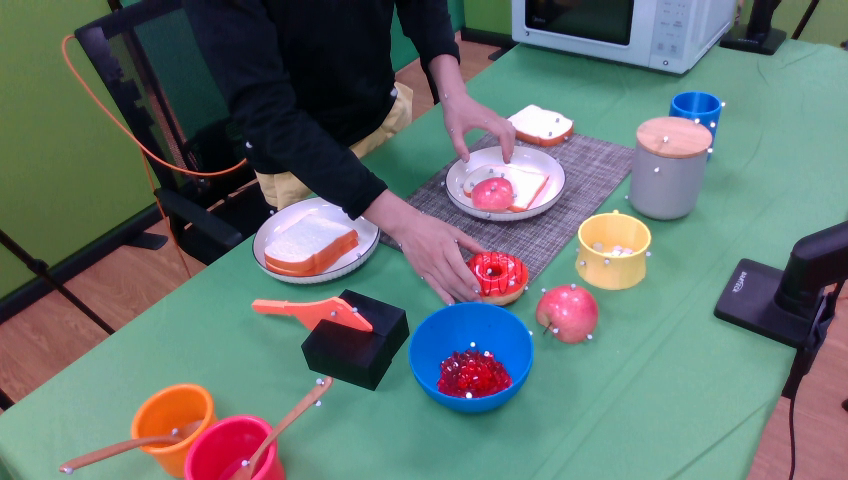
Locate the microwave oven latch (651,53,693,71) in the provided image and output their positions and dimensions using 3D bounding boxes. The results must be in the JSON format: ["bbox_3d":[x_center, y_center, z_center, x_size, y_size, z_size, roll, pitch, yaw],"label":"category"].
[{"bbox_3d":[0.532,-0.386,1.301,0.078,0.029,0.030,27,52,34],"label":"microwave oven latch"}]

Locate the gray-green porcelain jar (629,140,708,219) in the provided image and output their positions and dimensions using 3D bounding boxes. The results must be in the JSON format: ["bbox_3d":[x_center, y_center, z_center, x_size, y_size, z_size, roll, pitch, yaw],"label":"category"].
[{"bbox_3d":[0.383,-0.105,0.958,0.106,0.127,0.105,-4,41,4],"label":"gray-green porcelain jar"}]

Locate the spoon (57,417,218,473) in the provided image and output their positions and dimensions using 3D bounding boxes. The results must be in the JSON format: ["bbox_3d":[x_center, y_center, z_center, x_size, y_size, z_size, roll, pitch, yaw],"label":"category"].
[{"bbox_3d":[-0.304,0.221,0.661,0.041,0.195,0.021,19,92,27],"label":"spoon"}]

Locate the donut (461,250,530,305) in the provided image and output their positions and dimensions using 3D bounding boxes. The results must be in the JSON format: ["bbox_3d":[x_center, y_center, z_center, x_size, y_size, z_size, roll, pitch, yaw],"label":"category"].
[{"bbox_3d":[0.103,0.053,0.872,0.099,0.048,0.098,-5,41,5],"label":"donut"}]

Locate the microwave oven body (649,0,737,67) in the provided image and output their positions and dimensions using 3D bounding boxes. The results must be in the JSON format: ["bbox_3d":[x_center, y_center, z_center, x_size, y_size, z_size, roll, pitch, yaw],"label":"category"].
[{"bbox_3d":[0.475,-0.602,1.411,0.438,0.261,0.327,23,50,32],"label":"microwave oven body"}]

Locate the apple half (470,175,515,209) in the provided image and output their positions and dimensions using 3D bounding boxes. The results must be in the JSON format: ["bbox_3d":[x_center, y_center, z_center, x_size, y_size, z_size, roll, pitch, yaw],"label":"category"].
[{"bbox_3d":[0.114,-0.086,1.004,0.081,0.033,0.081,-3,42,4],"label":"apple half"}]

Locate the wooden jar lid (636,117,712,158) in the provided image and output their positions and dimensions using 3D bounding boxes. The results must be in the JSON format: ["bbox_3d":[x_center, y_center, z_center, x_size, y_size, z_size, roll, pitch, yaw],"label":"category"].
[{"bbox_3d":[0.377,-0.151,0.917,0.108,0.021,0.108,-2,41,2],"label":"wooden jar lid"}]

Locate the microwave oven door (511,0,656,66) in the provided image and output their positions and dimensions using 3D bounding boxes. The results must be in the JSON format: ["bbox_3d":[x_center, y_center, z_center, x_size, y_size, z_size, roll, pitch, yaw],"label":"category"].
[{"bbox_3d":[0.351,-0.539,1.348,0.353,0.245,0.039,24,50,31],"label":"microwave oven door"}]

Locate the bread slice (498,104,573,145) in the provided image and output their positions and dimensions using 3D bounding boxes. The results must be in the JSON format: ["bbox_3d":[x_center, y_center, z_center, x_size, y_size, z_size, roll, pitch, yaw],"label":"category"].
[{"bbox_3d":[0.231,-0.231,1.205,0.105,0.019,0.130,-36,47,-29],"label":"bread slice"}]

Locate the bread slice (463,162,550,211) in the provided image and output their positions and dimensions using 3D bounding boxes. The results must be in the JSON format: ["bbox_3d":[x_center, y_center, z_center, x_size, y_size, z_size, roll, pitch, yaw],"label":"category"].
[{"bbox_3d":[0.136,-0.096,1.043,0.133,0.018,0.107,12,44,25],"label":"bread slice"}]

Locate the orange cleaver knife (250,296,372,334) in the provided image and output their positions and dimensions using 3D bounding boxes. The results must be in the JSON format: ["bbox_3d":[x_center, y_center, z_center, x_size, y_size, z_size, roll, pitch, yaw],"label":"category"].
[{"bbox_3d":[-0.158,0.103,0.828,0.210,0.078,0.012,-4,43,39],"label":"orange cleaver knife"}]

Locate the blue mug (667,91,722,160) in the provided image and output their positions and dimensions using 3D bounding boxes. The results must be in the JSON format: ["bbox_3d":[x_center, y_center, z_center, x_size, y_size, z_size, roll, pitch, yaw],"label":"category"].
[{"bbox_3d":[0.474,-0.207,1.079,0.082,0.106,0.116,4,42,13],"label":"blue mug"}]

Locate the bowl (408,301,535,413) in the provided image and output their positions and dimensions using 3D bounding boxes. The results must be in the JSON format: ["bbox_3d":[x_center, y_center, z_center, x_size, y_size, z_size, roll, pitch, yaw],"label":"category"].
[{"bbox_3d":[0.060,0.156,0.739,0.151,0.077,0.150,-4,40,4],"label":"bowl"}]

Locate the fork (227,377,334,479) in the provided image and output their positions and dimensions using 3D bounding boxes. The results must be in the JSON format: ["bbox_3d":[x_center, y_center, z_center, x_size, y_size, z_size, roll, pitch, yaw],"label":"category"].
[{"bbox_3d":[-0.162,0.216,0.647,0.207,0.019,0.028,-49,41,17],"label":"fork"}]

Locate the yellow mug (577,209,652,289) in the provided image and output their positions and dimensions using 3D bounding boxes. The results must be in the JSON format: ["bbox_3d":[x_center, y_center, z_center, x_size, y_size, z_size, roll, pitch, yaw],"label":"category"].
[{"bbox_3d":[0.279,0.004,0.893,0.099,0.064,0.130,5,41,15],"label":"yellow mug"}]

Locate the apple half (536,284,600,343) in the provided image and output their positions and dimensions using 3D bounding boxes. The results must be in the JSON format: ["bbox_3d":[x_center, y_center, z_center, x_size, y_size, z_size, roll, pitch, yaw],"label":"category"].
[{"bbox_3d":[0.196,0.091,0.815,0.075,0.053,0.080,-22,42,-20],"label":"apple half"}]

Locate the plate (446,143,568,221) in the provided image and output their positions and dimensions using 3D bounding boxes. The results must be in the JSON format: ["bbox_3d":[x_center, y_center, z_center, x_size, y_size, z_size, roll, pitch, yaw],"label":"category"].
[{"bbox_3d":[0.142,-0.096,1.045,0.207,0.039,0.206,-4,41,4],"label":"plate"}]

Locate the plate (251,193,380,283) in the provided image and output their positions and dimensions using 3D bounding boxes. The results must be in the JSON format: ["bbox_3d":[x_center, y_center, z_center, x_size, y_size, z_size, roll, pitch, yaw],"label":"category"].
[{"bbox_3d":[-0.173,-0.001,0.985,0.209,0.038,0.208,-4,41,4],"label":"plate"}]
